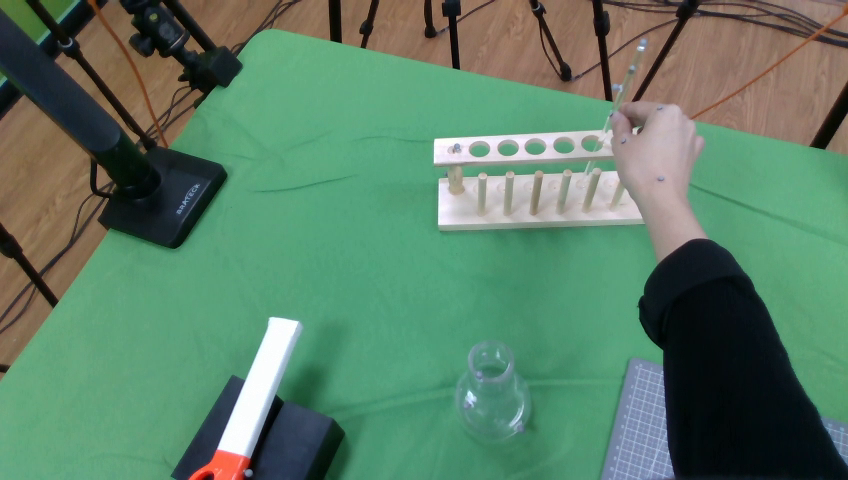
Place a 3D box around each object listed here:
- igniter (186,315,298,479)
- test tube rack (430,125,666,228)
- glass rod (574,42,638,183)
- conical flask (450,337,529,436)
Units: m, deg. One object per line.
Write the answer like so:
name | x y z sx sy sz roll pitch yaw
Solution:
igniter | -0.171 0.193 0.522 0.057 0.025 0.274 8 60 16
test tube rack | 0.130 -0.067 0.660 0.242 0.086 0.066 -2 60 5
glass rod | 0.178 -0.119 0.607 0.008 0.201 0.008 1 59 -2
conical flask | 0.057 0.124 0.537 0.075 0.123 0.074 -3 60 5
